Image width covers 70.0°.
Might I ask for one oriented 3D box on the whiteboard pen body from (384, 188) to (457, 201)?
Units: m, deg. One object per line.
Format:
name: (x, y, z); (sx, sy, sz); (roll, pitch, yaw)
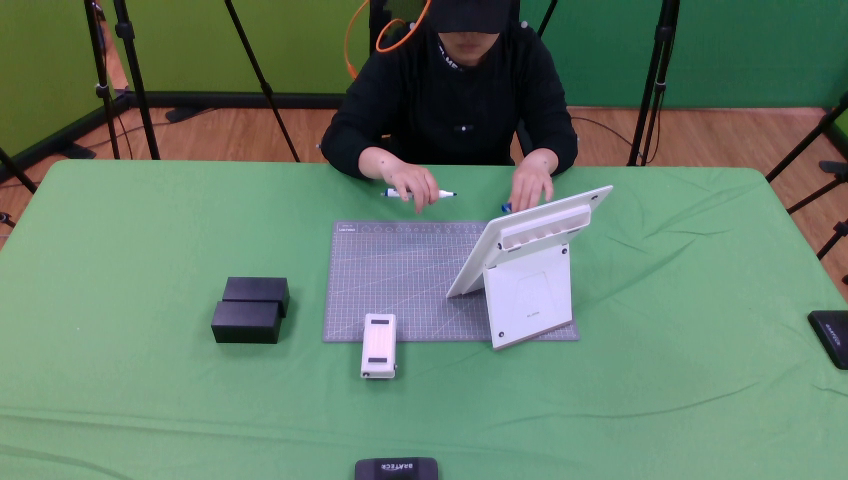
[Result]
whiteboard pen body: (-0.007, -0.086, 1.167); (0.141, 0.017, 0.017); (5, 46, 2)

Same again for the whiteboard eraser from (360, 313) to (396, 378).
whiteboard eraser: (-0.075, 0.176, 1.006); (0.055, 0.042, 0.112); (3, 50, -4)

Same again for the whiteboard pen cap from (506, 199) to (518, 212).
whiteboard pen cap: (0.176, -0.069, 1.209); (0.018, 0.018, 0.033); (21, 34, 15)

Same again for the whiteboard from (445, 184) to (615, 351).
whiteboard: (0.186, 0.065, 0.989); (0.217, 0.306, 0.143); (-15, 68, -18)
